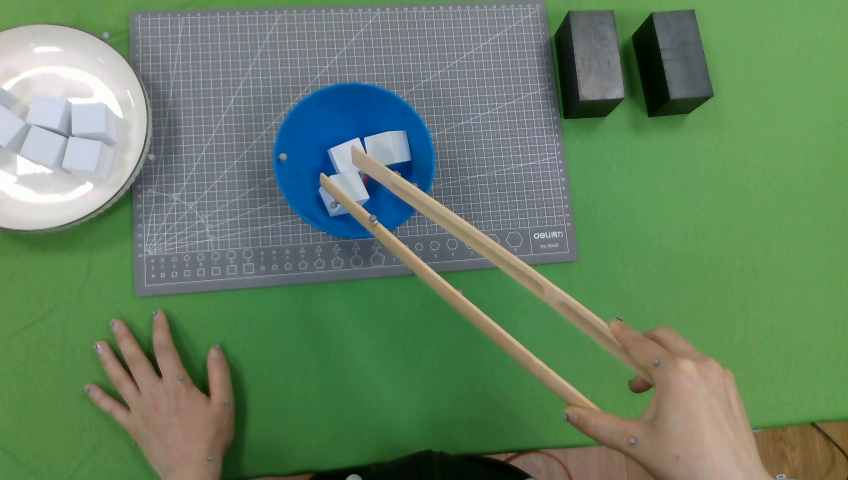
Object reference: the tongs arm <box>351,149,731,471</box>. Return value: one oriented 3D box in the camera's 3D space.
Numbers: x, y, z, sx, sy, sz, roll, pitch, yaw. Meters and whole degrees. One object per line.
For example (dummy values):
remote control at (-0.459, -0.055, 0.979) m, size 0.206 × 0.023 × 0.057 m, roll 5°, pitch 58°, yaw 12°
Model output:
tongs arm at (0.072, 0.037, 0.488) m, size 0.384 × 0.028 × 0.028 m, roll 39°, pitch 57°, yaw 21°

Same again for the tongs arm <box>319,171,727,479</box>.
tongs arm at (0.055, 0.051, 0.477) m, size 0.051 × 0.027 × 0.381 m, roll -36°, pitch 64°, yaw -26°

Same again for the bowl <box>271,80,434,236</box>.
bowl at (-0.069, -0.071, 0.597) m, size 0.152 × 0.077 × 0.151 m, roll 1°, pitch 81°, yaw -7°

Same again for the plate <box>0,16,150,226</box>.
plate at (-0.371, -0.113, 0.590) m, size 0.208 × 0.039 × 0.207 m, roll 1°, pitch 81°, yaw -5°
